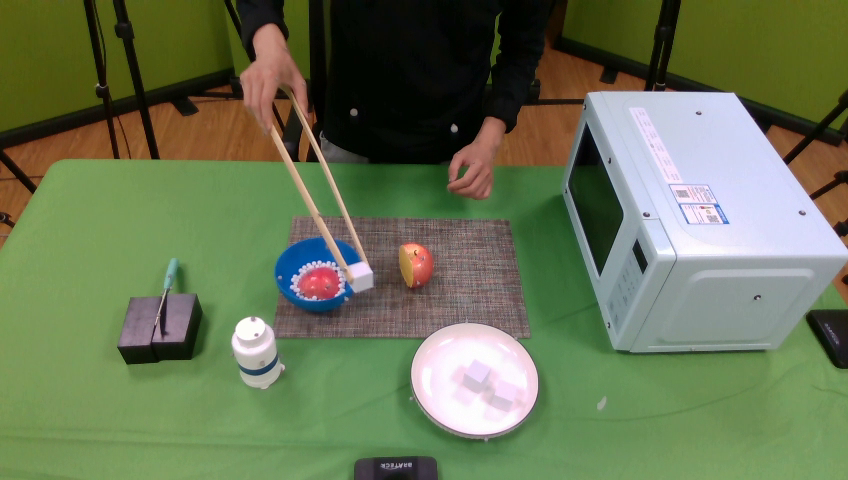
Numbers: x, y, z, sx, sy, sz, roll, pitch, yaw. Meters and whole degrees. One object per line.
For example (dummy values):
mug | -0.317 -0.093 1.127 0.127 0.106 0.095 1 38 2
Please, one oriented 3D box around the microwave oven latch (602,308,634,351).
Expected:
microwave oven latch | 0.332 0.153 1.044 0.030 0.029 0.078 -1 45 -4

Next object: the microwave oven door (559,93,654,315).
microwave oven door | 0.327 -0.074 1.123 0.039 0.245 0.353 -1 46 -5

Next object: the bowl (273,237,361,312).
bowl | -0.186 0.074 1.069 0.151 0.077 0.150 3 46 -3

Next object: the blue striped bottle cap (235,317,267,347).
blue striped bottle cap | -0.260 0.137 0.907 0.044 0.021 0.044 2 43 -2

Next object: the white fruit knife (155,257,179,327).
white fruit knife | -0.440 0.085 1.037 0.016 0.027 0.206 10 26 -19

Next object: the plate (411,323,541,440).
plate | 0.082 0.228 0.976 0.208 0.039 0.206 2 45 -2

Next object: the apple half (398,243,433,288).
apple half | -0.012 0.046 1.115 0.053 0.075 0.080 -11 44 -20

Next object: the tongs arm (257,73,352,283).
tongs arm | -0.187 -0.106 0.970 0.051 0.026 0.383 -24 75 -23

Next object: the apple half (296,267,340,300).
apple half | -0.187 0.070 1.067 0.081 0.033 0.081 2 47 -2

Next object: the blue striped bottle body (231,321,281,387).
blue striped bottle body | -0.262 0.171 0.944 0.063 0.121 0.062 2 46 -2

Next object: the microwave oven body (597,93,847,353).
microwave oven body | 0.475 -0.041 1.110 0.326 0.261 0.438 -1 45 -4

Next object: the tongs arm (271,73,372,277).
tongs arm | -0.166 -0.113 0.979 0.028 0.028 0.386 -21 73 -18
